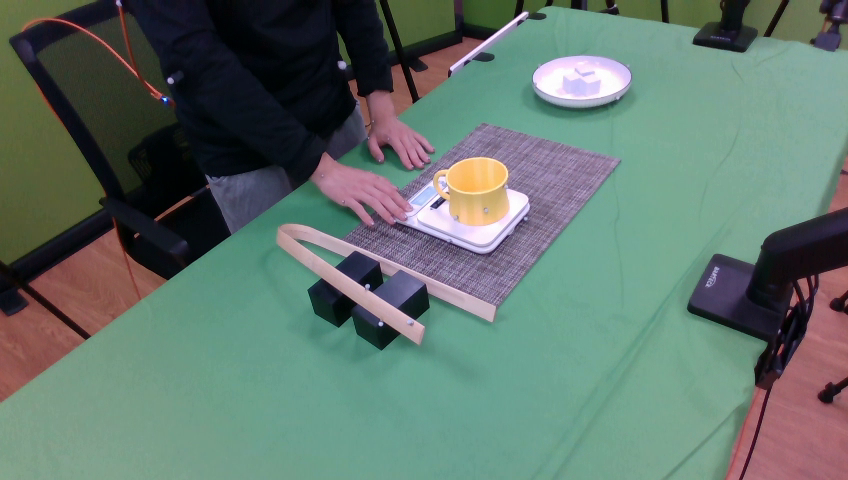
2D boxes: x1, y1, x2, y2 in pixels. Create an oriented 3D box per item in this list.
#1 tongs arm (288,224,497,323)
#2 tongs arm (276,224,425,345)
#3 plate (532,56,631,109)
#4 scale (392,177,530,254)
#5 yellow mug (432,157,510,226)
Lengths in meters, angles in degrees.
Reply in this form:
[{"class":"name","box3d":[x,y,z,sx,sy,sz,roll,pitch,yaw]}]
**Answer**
[{"class":"tongs arm","box3d":[-0.060,0.043,0.918,0.384,0.028,0.028,21,24,28]},{"class":"tongs arm","box3d":[-0.114,0.050,0.856,0.051,0.026,0.381,-7,24,-44]},{"class":"plate","box3d":[0.336,-0.335,1.301,0.207,0.039,0.206,-4,41,4]},{"class":"scale","box3d":[0.060,-0.050,1.006,0.199,0.032,0.149,22,48,30]},{"class":"yellow mug","box3d":[0.072,-0.082,0.968,0.130,0.064,0.100,13,45,24]}]
